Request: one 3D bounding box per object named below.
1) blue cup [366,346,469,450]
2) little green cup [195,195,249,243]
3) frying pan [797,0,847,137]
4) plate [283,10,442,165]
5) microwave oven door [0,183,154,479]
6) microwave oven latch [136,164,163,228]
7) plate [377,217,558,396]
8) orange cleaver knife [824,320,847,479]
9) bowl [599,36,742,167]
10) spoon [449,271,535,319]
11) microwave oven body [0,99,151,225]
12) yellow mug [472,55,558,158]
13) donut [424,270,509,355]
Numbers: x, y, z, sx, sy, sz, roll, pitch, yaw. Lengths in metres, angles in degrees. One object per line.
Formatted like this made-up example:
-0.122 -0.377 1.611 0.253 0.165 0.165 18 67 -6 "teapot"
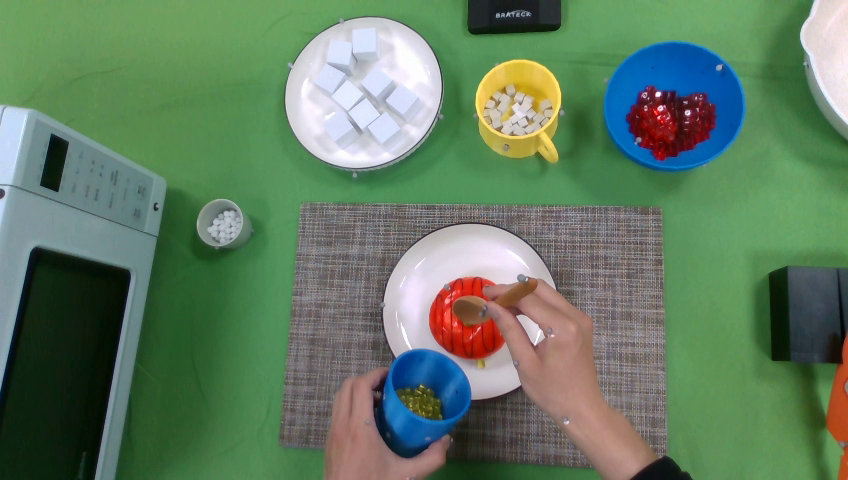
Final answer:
-0.014 0.168 0.613 0.093 0.100 0.091 15 50 -18 "blue cup"
-0.257 -0.024 0.778 0.061 0.039 0.061 -1 81 7 "little green cup"
0.551 -0.116 0.644 0.306 0.103 0.485 6 73 11 "frying pan"
-0.077 -0.194 0.784 0.207 0.039 0.207 -1 80 8 "plate"
-0.400 0.140 0.647 0.039 0.245 0.354 4 80 9 "microwave oven door"
-0.361 -0.057 0.781 0.030 0.029 0.079 8 82 9 "microwave oven latch"
0.050 0.076 0.713 0.209 0.038 0.208 -1 80 8 "plate"
0.430 0.182 0.620 0.012 0.077 0.212 1 109 9 "orange cleaver knife"
0.276 -0.149 0.704 0.151 0.077 0.151 -1 80 8 "bowl"
0.062 0.053 0.556 0.042 0.194 0.021 30 74 -5 "spoon"
-0.538 0.087 0.682 0.325 0.261 0.440 5 81 9 "microwave oven body"
0.119 -0.152 0.733 0.100 0.064 0.130 -35 78 1 "yellow mug"
0.049 0.083 0.700 0.099 0.048 0.099 -1 83 9 "donut"
